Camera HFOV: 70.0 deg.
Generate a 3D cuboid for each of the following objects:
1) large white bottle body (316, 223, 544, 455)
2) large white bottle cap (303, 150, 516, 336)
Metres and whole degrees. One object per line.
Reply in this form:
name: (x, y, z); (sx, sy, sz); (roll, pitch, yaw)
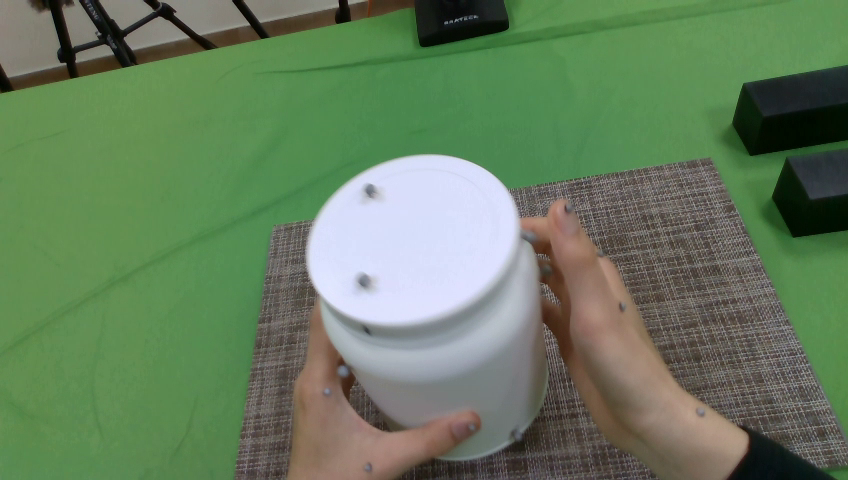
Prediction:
large white bottle body: (0.009, 0.049, 0.392); (0.130, 0.186, 0.129); (-7, 52, 9)
large white bottle cap: (-0.008, -0.002, 0.325); (0.114, 0.018, 0.113); (-6, 53, 9)
